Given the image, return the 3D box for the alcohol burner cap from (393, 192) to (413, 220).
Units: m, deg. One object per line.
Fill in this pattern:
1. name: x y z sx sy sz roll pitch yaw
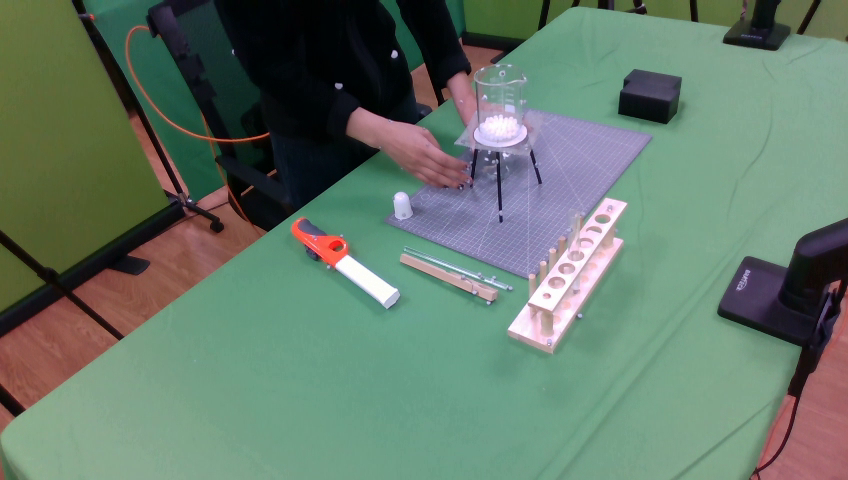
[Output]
1. alcohol burner cap: -0.038 -0.061 1.044 0.034 0.048 0.033 -5 40 5

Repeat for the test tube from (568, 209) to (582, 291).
1. test tube: 0.200 0.017 0.799 0.017 0.151 0.017 -8 45 8

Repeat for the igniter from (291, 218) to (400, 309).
1. igniter: -0.136 0.031 0.970 0.057 0.025 0.274 -41 49 -19

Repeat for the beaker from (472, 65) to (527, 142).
1. beaker: 0.120 -0.211 0.942 0.083 0.101 0.074 10 42 21

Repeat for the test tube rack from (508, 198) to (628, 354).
1. test tube rack: 0.206 0.039 0.850 0.066 0.085 0.243 20 48 31

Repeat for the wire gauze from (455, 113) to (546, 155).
1. wire gauze: 0.124 -0.175 0.973 0.124 0.011 0.121 8 39 21

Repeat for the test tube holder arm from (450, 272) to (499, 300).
1. test tube holder arm: 0.071 0.068 0.895 0.087 0.015 0.010 21 16 33

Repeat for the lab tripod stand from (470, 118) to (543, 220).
1. lab tripod stand: 0.135 -0.128 1.019 0.148 0.132 0.147 -5 38 5

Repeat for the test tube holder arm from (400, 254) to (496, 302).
1. test tube holder arm: 0.033 0.055 0.915 0.177 0.015 0.013 21 16 33

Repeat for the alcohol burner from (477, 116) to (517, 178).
1. alcohol burner: 0.129 -0.171 1.086 0.078 0.119 0.077 -4 41 4

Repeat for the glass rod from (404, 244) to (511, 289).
1. glass rod: 0.047 0.039 0.939 0.198 0.008 0.008 21 49 31
